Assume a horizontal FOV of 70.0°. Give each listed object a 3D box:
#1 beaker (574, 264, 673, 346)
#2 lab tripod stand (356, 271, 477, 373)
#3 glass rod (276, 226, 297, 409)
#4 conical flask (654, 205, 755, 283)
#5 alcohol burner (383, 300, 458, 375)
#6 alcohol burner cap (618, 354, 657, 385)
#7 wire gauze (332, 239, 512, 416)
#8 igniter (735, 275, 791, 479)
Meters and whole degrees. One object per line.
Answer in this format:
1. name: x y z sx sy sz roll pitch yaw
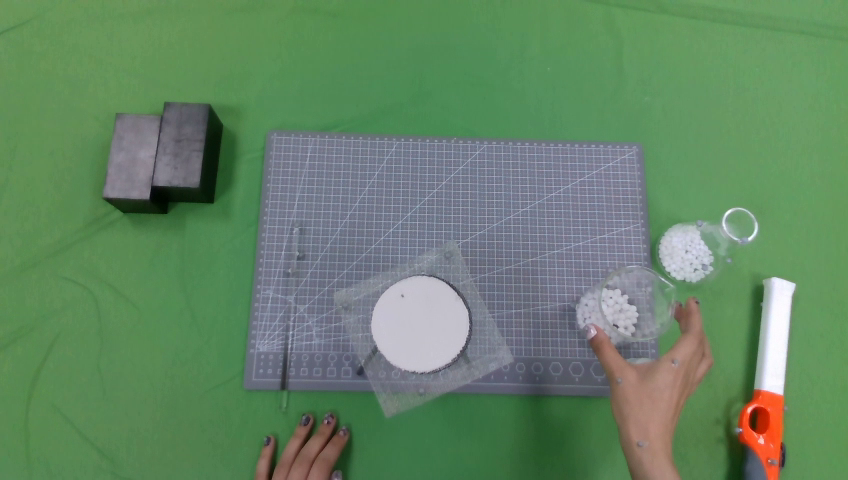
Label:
1. beaker: 0.204 0.070 0.633 0.084 0.100 0.073 -22 77 -8
2. lab tripod stand: -0.006 0.092 0.600 0.148 0.132 0.147 1 77 -2
3. glass rod: -0.149 0.081 0.661 0.008 0.008 0.199 3 78 -2
4. conical flask: 0.303 -0.001 0.647 0.075 0.122 0.075 1 75 -1
5. alcohol burner: -0.003 0.096 0.610 0.078 0.119 0.077 0 74 0
6. alcohol burner cap: 0.231 0.137 0.647 0.034 0.048 0.033 0 75 -1
7. wire gauze: -0.003 0.075 0.535 0.125 0.011 0.121 -23 79 -7
8. igniter: 0.367 0.172 0.654 0.057 0.025 0.275 17 75 -8
